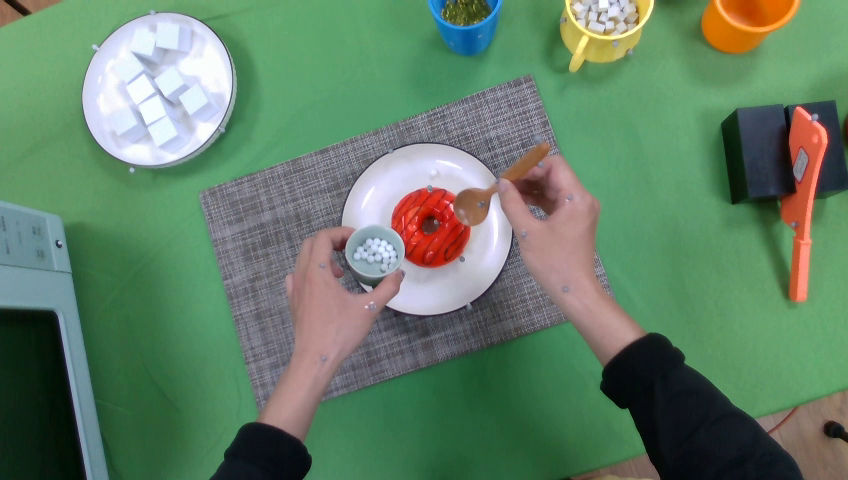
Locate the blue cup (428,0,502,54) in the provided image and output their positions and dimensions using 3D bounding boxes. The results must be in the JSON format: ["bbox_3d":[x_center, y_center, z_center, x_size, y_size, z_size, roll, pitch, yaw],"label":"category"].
[{"bbox_3d":[0.051,-0.270,0.721,0.092,0.100,0.092,-1,84,6],"label":"blue cup"}]

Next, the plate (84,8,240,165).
[{"bbox_3d":[-0.336,-0.196,0.791,0.207,0.039,0.207,-1,83,7],"label":"plate"}]

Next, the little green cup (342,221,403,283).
[{"bbox_3d":[-0.053,0.015,0.636,0.061,0.039,0.061,2,61,-3],"label":"little green cup"}]

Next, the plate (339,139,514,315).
[{"bbox_3d":[0.003,-0.015,0.725,0.209,0.038,0.208,-1,83,7],"label":"plate"}]

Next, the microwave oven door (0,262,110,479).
[{"bbox_3d":[-0.434,0.194,0.634,0.039,0.245,0.354,-16,81,5],"label":"microwave oven door"}]

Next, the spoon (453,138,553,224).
[{"bbox_3d":[0.071,-0.053,0.580,0.021,0.194,0.041,-33,89,-21],"label":"spoon"}]

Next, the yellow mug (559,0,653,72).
[{"bbox_3d":[0.206,-0.258,0.719,0.099,0.064,0.131,30,89,9],"label":"yellow mug"}]

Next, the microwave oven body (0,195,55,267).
[{"bbox_3d":[-0.585,0.193,0.658,0.326,0.261,0.440,-16,82,4],"label":"microwave oven body"}]

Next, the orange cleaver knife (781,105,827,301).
[{"bbox_3d":[0.407,-0.037,0.661,0.012,0.077,0.212,-4,112,9],"label":"orange cleaver knife"}]

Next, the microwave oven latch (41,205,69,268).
[{"bbox_3d":[-0.475,-0.003,0.766,0.030,0.029,0.079,-14,82,4],"label":"microwave oven latch"}]

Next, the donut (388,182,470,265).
[{"bbox_3d":[0.006,-0.019,0.714,0.099,0.048,0.099,-1,85,8],"label":"donut"}]
